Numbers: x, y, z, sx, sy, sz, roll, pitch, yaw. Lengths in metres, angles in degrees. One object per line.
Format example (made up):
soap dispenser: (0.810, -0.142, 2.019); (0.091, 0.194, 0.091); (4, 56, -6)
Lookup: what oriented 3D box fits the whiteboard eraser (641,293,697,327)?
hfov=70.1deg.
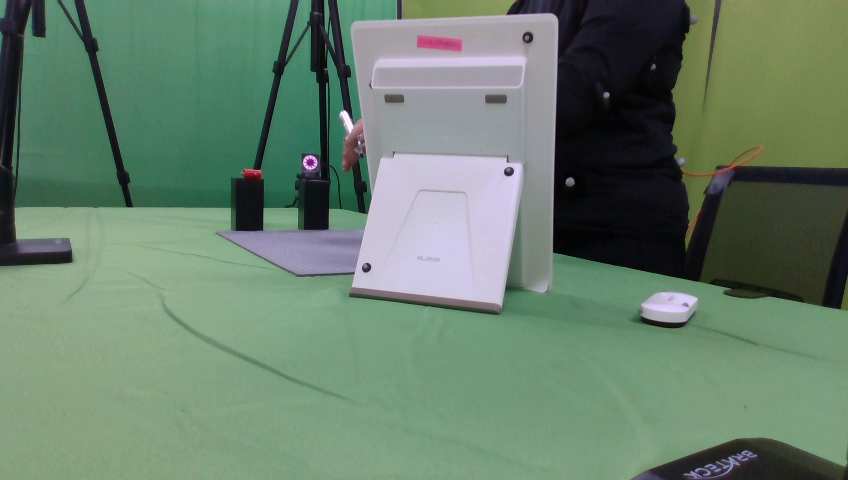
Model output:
whiteboard eraser: (0.240, 0.066, 0.590); (0.041, 0.019, 0.102); (6, 7, 31)

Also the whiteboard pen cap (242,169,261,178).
whiteboard pen cap: (-0.327, -0.126, 1.144); (0.032, 0.017, 0.017); (-1, 8, -36)

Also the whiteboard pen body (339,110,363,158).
whiteboard pen body: (-0.121, -0.178, 1.011); (0.017, 0.017, 0.140); (0, 42, -24)

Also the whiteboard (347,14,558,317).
whiteboard: (0.012, -0.056, 0.609); (0.216, 0.305, 0.144); (5, 27, 20)
